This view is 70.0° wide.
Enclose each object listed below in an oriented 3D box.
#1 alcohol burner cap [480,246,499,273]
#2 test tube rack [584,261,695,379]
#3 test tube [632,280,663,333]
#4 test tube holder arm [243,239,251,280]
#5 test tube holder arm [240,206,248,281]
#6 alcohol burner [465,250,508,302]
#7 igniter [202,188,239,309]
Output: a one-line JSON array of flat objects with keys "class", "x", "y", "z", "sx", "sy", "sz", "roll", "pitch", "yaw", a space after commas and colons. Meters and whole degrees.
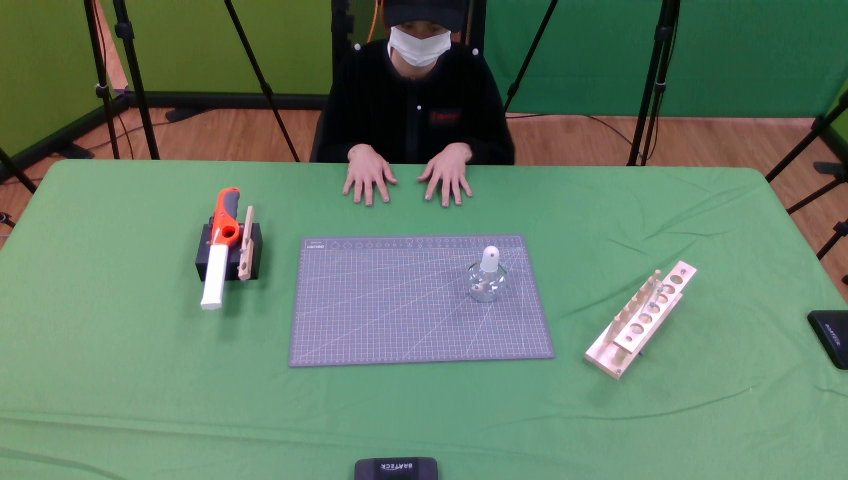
[{"class": "alcohol burner cap", "x": 0.117, "y": 0.032, "z": 1.060, "sx": 0.034, "sy": 0.048, "sz": 0.033, "roll": 3, "pitch": 42, "yaw": -3}, {"class": "test tube rack", "x": 0.380, "y": 0.127, "z": 1.062, "sx": 0.066, "sy": 0.085, "sz": 0.242, "roll": 34, "pitch": 53, "yaw": 26}, {"class": "test tube", "x": 0.363, "y": 0.121, "z": 0.997, "sx": 0.017, "sy": 0.151, "sz": 0.017, "roll": 2, "pitch": 44, "yaw": -1}, {"class": "test tube holder arm", "x": -0.315, "y": 0.034, "z": 1.077, "sx": 0.010, "sy": 0.015, "sz": 0.087, "roll": -5, "pitch": 48, "yaw": -8}, {"class": "test tube holder arm", "x": -0.328, "y": 0.002, "z": 1.106, "sx": 0.013, "sy": 0.015, "sz": 0.177, "roll": -6, "pitch": 48, "yaw": -9}, {"class": "alcohol burner", "x": 0.114, "y": 0.057, "z": 1.085, "sx": 0.078, "sy": 0.120, "sz": 0.077, "roll": 2, "pitch": 48, "yaw": -2}, {"class": "igniter", "x": -0.367, "y": 0.006, "z": 1.095, "sx": 0.057, "sy": 0.025, "sz": 0.274, "roll": -2, "pitch": 49, "yaw": -7}]
